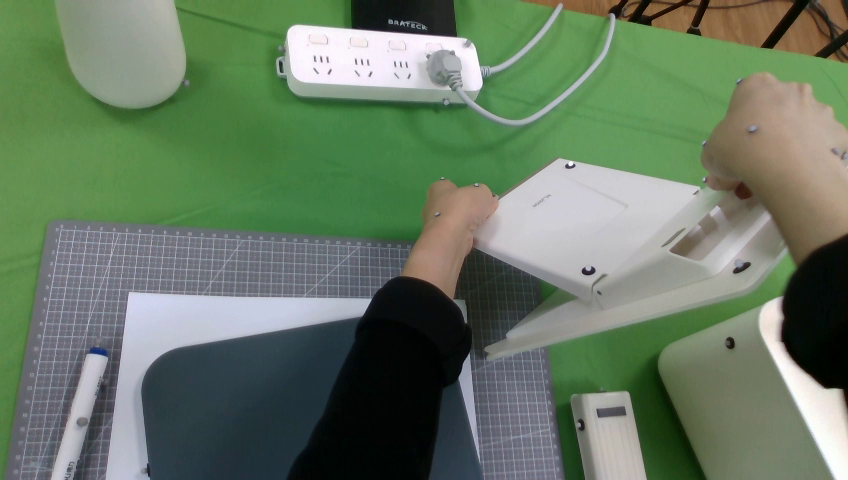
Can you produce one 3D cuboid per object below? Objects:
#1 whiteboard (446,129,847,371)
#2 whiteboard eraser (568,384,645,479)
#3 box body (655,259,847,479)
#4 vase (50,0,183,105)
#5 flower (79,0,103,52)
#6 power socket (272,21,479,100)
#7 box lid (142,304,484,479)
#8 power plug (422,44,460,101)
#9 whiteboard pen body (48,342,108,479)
[{"bbox_3d":[0.153,-0.036,0.501,0.217,0.306,0.143,-34,85,-28],"label":"whiteboard"},{"bbox_3d":[0.170,0.193,0.567,0.056,0.042,0.112,1,69,-21],"label":"whiteboard eraser"},{"bbox_3d":[0.418,0.211,0.576,0.255,0.161,0.362,-16,75,-23],"label":"box body"},{"bbox_3d":[-0.253,-0.196,0.488,0.098,0.200,0.097,6,67,-15],"label":"vase"},{"bbox_3d":[-0.210,-0.217,0.419,0.038,0.361,0.044,53,53,-13],"label":"flower"},{"bbox_3d":[-0.045,-0.190,0.649,0.228,0.032,0.071,-2,71,-20],"label":"power socket"},{"bbox_3d":[-0.066,0.240,0.484,0.264,0.015,0.369,-8,73,-22],"label":"box lid"},{"bbox_3d":[0.015,-0.172,0.638,0.035,0.053,0.072,8,73,-16],"label":"power plug"},{"bbox_3d":[-0.259,0.145,0.446,0.017,0.017,0.140,11,68,-14],"label":"whiteboard pen body"}]
